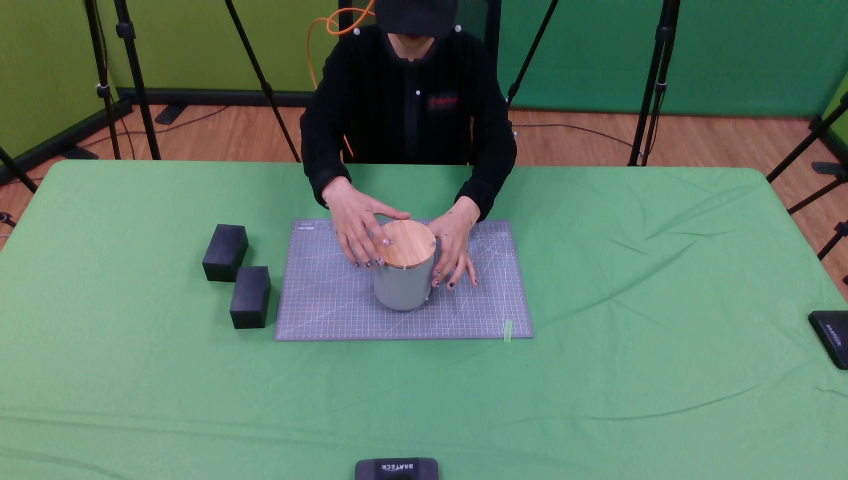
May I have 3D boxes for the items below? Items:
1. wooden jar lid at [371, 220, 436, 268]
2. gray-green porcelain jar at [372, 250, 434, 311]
[{"bbox_3d":[-0.034,0.009,1.020,0.108,0.021,0.107,2,47,-2],"label":"wooden jar lid"},{"bbox_3d":[-0.037,0.054,1.066,0.106,0.127,0.105,2,46,-2],"label":"gray-green porcelain jar"}]
